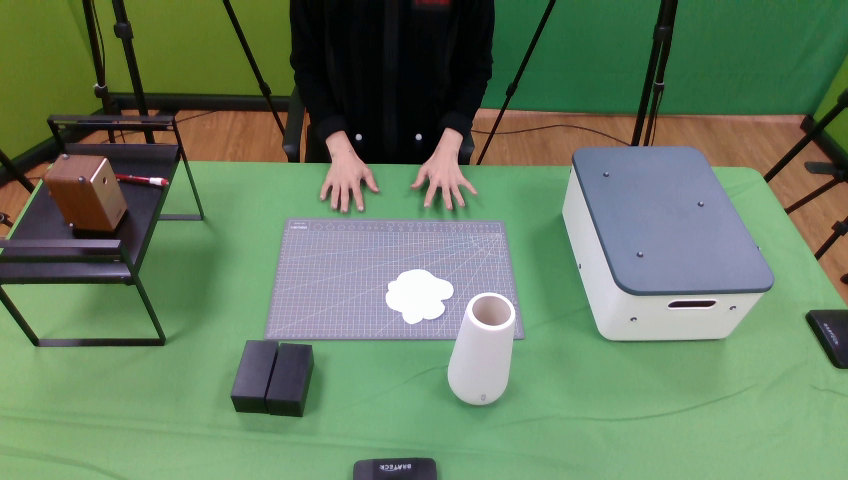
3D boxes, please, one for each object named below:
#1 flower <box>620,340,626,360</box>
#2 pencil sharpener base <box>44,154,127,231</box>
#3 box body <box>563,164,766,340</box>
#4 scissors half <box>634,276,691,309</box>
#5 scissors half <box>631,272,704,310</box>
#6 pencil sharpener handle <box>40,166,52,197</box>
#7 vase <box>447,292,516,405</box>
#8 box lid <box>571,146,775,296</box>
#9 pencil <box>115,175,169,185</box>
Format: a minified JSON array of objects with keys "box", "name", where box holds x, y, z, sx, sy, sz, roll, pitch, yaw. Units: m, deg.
[{"box":[0.416,0.065,1.186,0.038,0.044,0.360,29,64,-20],"name":"flower"},{"box":[-0.512,-0.071,0.918,0.077,0.107,0.061,3,47,0],"name":"pencil sharpener base"},{"box":[0.421,0.003,1.130,0.254,0.161,0.361,0,46,-5],"name":"box body"},{"box":[0.454,0.096,1.144,0.175,0.040,0.013,-20,88,-31],"name":"scissors half"},{"box":[0.460,0.092,1.132,0.175,0.040,0.013,-22,83,-21],"name":"scissors half"},{"box":[-0.562,-0.085,0.911,0.030,0.068,0.036,3,58,0],"name":"pencil sharpener handle"},{"box":[0.091,0.168,0.921,0.098,0.201,0.097,3,47,-3],"name":"vase"},{"box":[0.424,-0.048,1.074,0.263,0.015,0.369,-1,46,-4],"name":"box lid"},{"box":[-0.522,-0.106,1.020,0.194,0.012,0.012,6,46,5],"name":"pencil"}]
